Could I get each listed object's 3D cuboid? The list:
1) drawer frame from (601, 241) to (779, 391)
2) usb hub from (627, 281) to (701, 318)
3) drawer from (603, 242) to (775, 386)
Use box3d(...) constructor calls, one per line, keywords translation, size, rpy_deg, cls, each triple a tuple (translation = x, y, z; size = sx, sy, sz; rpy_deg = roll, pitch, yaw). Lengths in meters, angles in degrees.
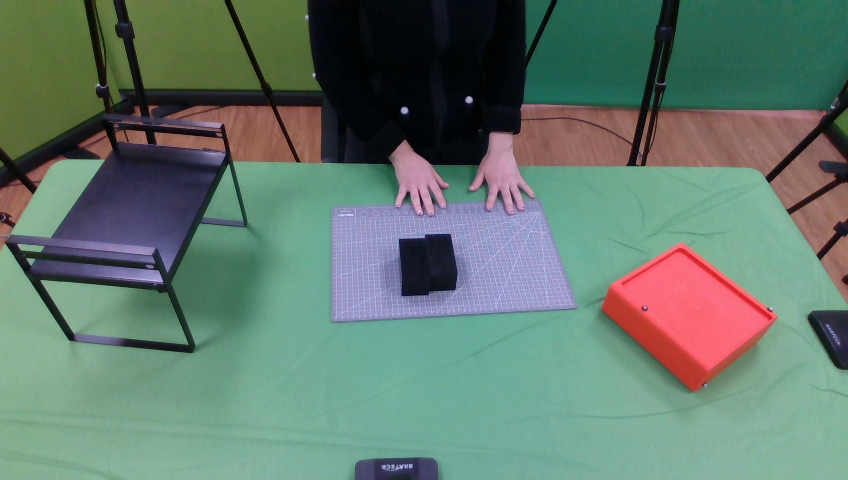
box3d(translation=(0.462, 0.124, 1.066), size=(0.202, 0.083, 0.212), rpy_deg=(-26, 54, -26), cls="drawer frame")
box3d(translation=(0.436, 0.109, 1.101), size=(0.125, 0.025, 0.049), rpy_deg=(-9, 46, -19), cls="usb hub")
box3d(translation=(0.461, 0.124, 1.067), size=(0.194, 0.073, 0.210), rpy_deg=(-25, 52, -26), cls="drawer")
